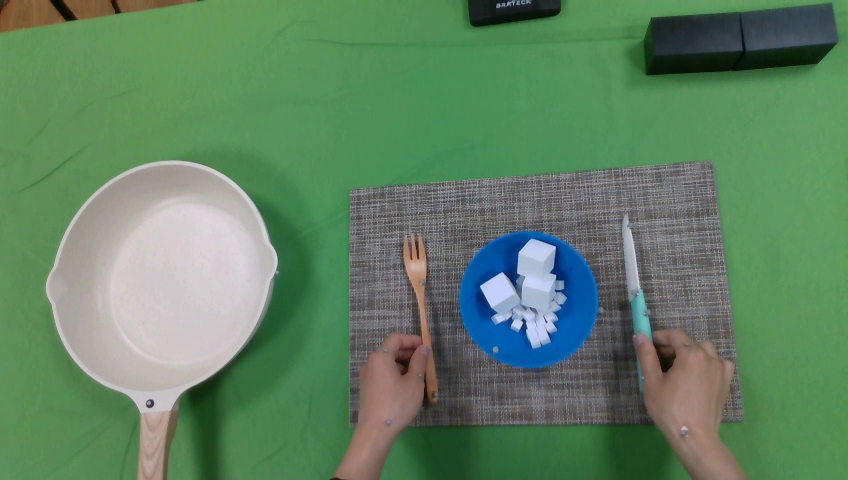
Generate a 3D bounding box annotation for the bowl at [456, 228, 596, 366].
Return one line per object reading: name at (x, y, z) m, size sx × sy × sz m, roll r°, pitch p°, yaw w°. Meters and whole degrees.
bowl at (0.115, 0.068, 0.690) m, size 0.151 × 0.077 × 0.150 m, roll -2°, pitch 79°, yaw 9°

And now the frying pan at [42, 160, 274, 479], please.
frying pan at (-0.320, 0.143, 0.736) m, size 0.306 × 0.103 × 0.484 m, roll -6°, pitch 70°, yaw 9°

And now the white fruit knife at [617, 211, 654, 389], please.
white fruit knife at (0.239, 0.064, 0.694) m, size 0.016 × 0.027 × 0.206 m, roll 3°, pitch 72°, yaw -17°

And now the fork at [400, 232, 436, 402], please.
fork at (-0.005, 0.090, 0.732) m, size 0.028 × 0.019 × 0.206 m, roll -5°, pitch 74°, yaw -12°
